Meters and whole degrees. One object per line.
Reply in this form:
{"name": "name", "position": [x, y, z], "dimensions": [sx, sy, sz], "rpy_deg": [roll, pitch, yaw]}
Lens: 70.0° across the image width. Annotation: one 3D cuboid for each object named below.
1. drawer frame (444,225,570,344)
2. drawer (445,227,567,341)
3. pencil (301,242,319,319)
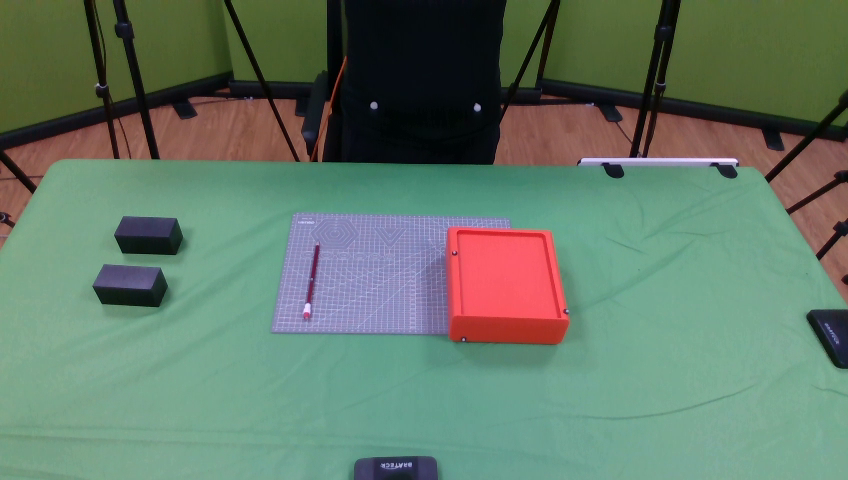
{"name": "drawer frame", "position": [0.141, 0.077, 1.088], "dimensions": [0.202, 0.083, 0.212], "rpy_deg": [2, 47, -4]}
{"name": "drawer", "position": [0.140, 0.076, 1.090], "dimensions": [0.195, 0.073, 0.210], "rpy_deg": [3, 47, -4]}
{"name": "pencil", "position": [-0.208, 0.070, 1.119], "dimensions": [0.012, 0.012, 0.193], "rpy_deg": [2, 43, -2]}
